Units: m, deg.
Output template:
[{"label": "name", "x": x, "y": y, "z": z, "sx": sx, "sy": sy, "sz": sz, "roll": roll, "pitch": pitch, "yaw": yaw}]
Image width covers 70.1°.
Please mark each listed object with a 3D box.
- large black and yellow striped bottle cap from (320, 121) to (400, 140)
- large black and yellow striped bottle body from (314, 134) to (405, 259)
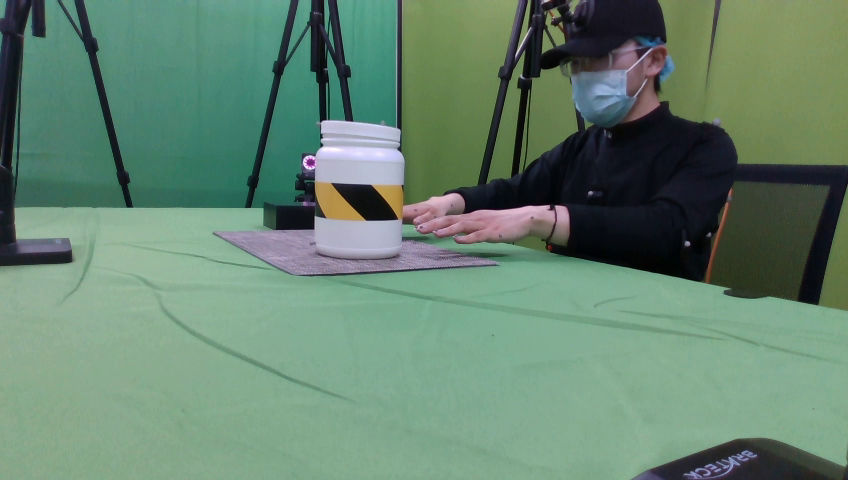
[{"label": "large black and yellow striped bottle cap", "x": -0.091, "y": -0.157, "z": 0.873, "sx": 0.115, "sy": 0.019, "sz": 0.115, "roll": 4, "pitch": 6, "yaw": 0}, {"label": "large black and yellow striped bottle body", "x": -0.095, "y": -0.072, "z": 0.886, "sx": 0.131, "sy": 0.184, "sz": 0.130, "roll": 2, "pitch": 8, "yaw": 0}]
